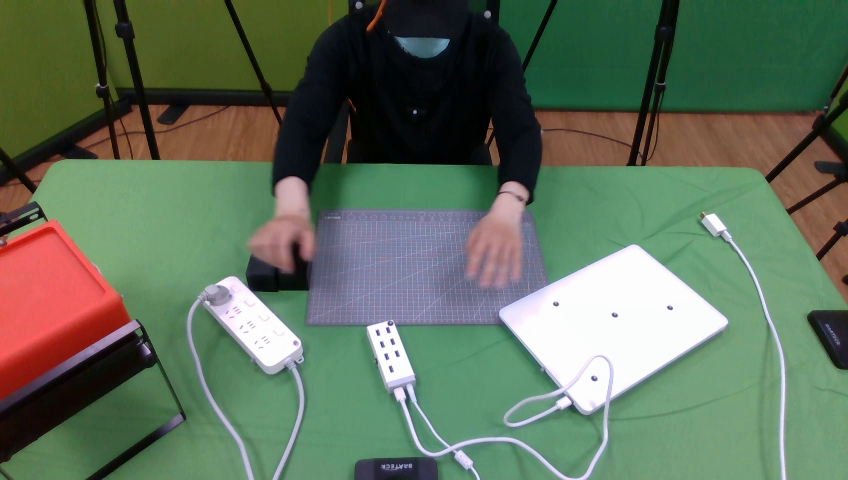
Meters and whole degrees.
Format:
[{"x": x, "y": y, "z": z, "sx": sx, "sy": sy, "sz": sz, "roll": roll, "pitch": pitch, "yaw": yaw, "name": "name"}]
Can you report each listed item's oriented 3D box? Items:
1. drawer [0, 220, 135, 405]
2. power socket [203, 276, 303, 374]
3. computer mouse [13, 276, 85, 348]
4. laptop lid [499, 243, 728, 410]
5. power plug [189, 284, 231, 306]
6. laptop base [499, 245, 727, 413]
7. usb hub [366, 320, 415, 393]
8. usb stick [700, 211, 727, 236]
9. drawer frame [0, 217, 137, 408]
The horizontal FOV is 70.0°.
[{"x": -0.522, "y": 0.093, "z": 0.782, "sx": 0.193, "sy": 0.073, "sz": 0.211, "roll": 38, "pitch": 55, "yaw": 27, "name": "drawer"}, {"x": -0.296, "y": 0.141, "z": 1.034, "sx": 0.072, "sy": 0.033, "sz": 0.225, "roll": -35, "pitch": 58, "yaw": -30, "name": "power socket"}, {"x": -0.496, "y": 0.090, "z": 0.804, "sx": 0.063, "sy": 0.041, "sz": 0.116, "roll": -7, "pitch": 42, "yaw": -7, "name": "computer mouse"}, {"x": 0.338, "y": 0.135, "z": 1.081, "sx": 0.357, "sy": 0.013, "sz": 0.240, "roll": -21, "pitch": 50, "yaw": -23, "name": "laptop lid"}, {"x": -0.367, "y": 0.100, "z": 1.037, "sx": 0.072, "sy": 0.053, "sz": 0.035, "roll": -23, "pitch": 52, "yaw": -27, "name": "power plug"}, {"x": 0.339, "y": 0.145, "z": 1.088, "sx": 0.354, "sy": 0.023, "sz": 0.234, "roll": -23, "pitch": 49, "yaw": -24, "name": "laptop base"}, {"x": -0.056, "y": 0.192, "z": 1.009, "sx": 0.049, "sy": 0.025, "sz": 0.124, "roll": -12, "pitch": 49, "yaw": -16, "name": "usb hub"}, {"x": 0.606, "y": -0.038, "z": 1.273, "sx": 0.027, "sy": 0.021, "sz": 0.059, "roll": -18, "pitch": 56, "yaw": -20, "name": "usb stick"}, {"x": -0.523, "y": 0.094, "z": 0.779, "sx": 0.200, "sy": 0.083, "sz": 0.213, "roll": 37, "pitch": 55, "yaw": 26, "name": "drawer frame"}]
